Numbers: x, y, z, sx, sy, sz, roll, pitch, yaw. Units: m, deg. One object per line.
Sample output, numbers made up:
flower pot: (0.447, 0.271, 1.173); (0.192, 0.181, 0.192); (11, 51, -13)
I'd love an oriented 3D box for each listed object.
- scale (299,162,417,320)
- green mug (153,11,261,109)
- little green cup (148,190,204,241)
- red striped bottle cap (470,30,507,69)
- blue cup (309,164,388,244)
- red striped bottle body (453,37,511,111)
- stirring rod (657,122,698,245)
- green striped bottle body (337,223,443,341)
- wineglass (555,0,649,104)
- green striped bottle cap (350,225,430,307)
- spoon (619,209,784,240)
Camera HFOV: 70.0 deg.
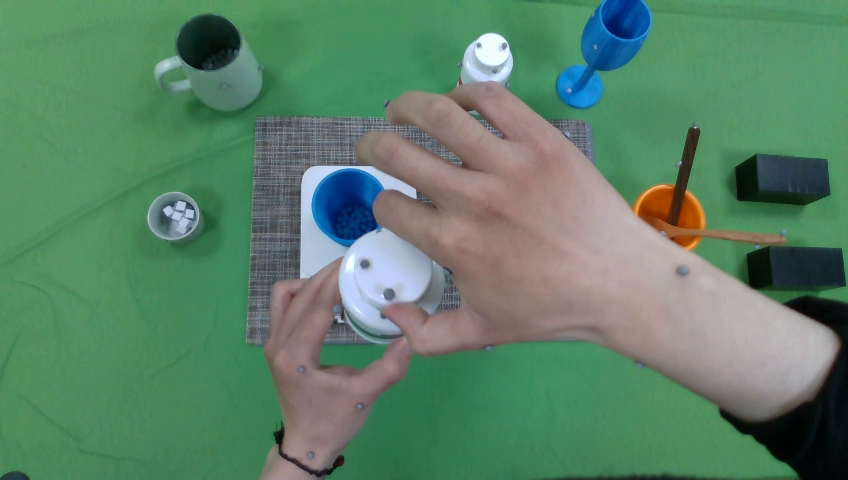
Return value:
scale: (-0.083, -0.001, 0.769); (0.149, 0.031, 0.200); (-1, 79, -4)
green mug: (-0.276, -0.219, 0.765); (0.125, 0.105, 0.092); (-22, 81, -8)
little green cup: (-0.307, -0.028, 0.757); (0.061, 0.039, 0.061); (1, 78, -5)
red striped bottle cap: (0.078, -0.230, 0.731); (0.044, 0.018, 0.044); (1, 76, -3)
blue cup: (-0.085, -0.033, 0.708); (0.093, 0.100, 0.092); (1, 80, -4)
red striped bottle body: (0.075, -0.219, 0.784); (0.063, 0.120, 0.063); (1, 78, -4)
stirring rod: (0.315, -0.065, 0.756); (0.014, 0.177, 0.006); (6, 37, 10)
green striped bottle body: (-0.023, 0.029, 0.387); (0.063, 0.119, 0.063); (1, 75, -5)
wineglass: (0.221, -0.240, 0.771); (0.074, 0.173, 0.073); (1, 78, -3)
green striped bottle cap: (-0.018, 0.014, 0.333); (0.044, 0.020, 0.044); (2, 73, -6)
spoon: (0.334, -0.014, 0.747); (0.022, 0.192, 0.041); (19, 82, -44)
